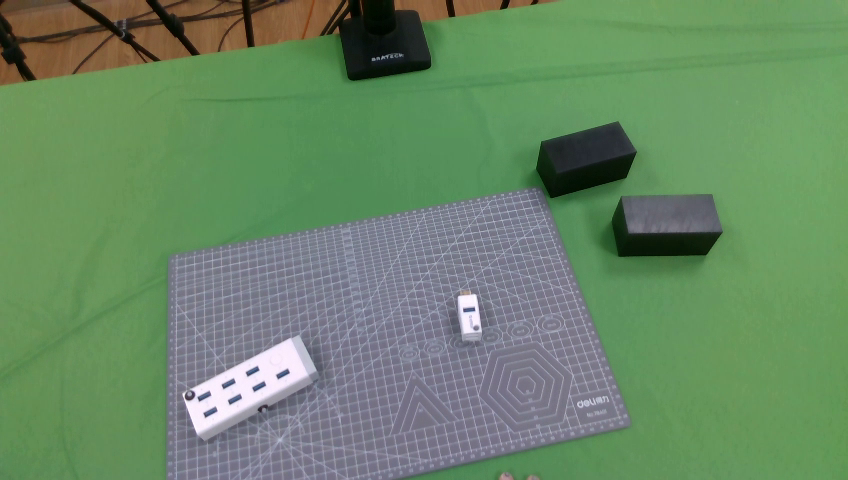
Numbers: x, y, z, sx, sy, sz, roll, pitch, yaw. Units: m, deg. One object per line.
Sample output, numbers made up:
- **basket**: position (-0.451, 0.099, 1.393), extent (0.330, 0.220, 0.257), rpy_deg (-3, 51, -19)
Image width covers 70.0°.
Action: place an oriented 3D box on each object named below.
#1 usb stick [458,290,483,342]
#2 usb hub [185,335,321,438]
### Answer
- **usb stick**: position (0.048, 0.077, 0.648), extent (0.021, 0.027, 0.058), rpy_deg (-7, 56, 1)
- **usb hub**: position (-0.172, 0.146, 0.613), extent (0.125, 0.025, 0.049), rpy_deg (-26, 61, -14)
